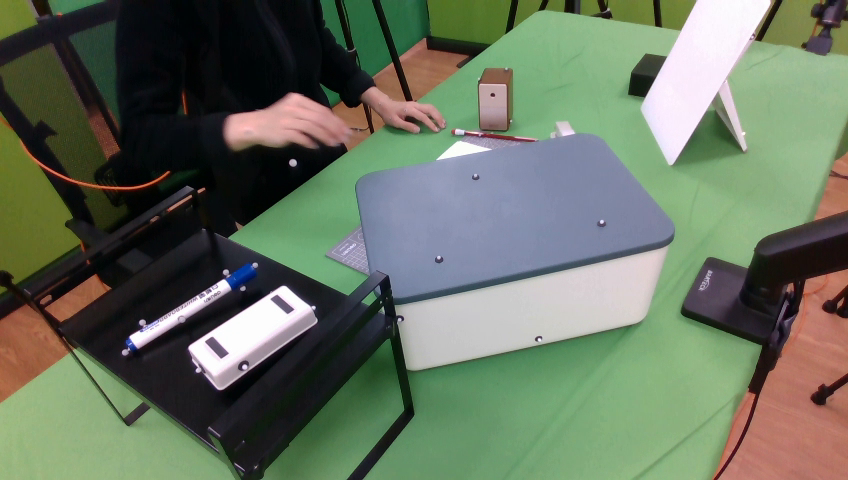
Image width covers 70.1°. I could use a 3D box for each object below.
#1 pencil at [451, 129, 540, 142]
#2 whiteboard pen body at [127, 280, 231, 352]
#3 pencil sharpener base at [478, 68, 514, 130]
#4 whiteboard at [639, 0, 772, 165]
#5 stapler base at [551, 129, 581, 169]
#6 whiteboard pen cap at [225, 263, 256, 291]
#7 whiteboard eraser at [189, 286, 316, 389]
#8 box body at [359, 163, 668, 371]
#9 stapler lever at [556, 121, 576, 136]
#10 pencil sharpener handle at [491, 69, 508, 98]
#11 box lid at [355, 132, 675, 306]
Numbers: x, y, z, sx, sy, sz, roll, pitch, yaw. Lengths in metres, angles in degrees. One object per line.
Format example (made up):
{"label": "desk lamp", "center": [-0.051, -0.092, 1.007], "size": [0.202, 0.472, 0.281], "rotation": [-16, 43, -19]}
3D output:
{"label": "pencil", "center": [0.146, -0.207, 1.205], "size": [0.193, 0.012, 0.012], "rotation": [10, 43, 19]}
{"label": "whiteboard pen body", "center": [-0.248, 0.072, 0.645], "size": [0.141, 0.017, 0.017], "rotation": [-35, 47, -23]}
{"label": "pencil sharpener base", "center": [0.148, -0.286, 1.224], "size": [0.061, 0.107, 0.076], "rotation": [5, 41, 15]}
{"label": "whiteboard", "center": [0.543, -0.298, 1.076], "size": [0.144, 0.305, 0.216], "rotation": [12, 40, -7]}
{"label": "stapler base", "center": [0.268, -0.178, 1.142], "size": [0.041, 0.024, 0.130], "rotation": [0, 37, 3]}
{"label": "whiteboard pen cap", "center": [-0.204, 0.041, 0.668], "size": [0.033, 0.018, 0.018], "rotation": [-36, 48, -22]}
{"label": "whiteboard eraser", "center": [-0.166, 0.096, 0.593], "size": [0.113, 0.042, 0.055], "rotation": [-36, 47, -29]}
{"label": "box body", "center": [0.108, 0.014, 0.833], "size": [0.365, 0.161, 0.252], "rotation": [-11, 41, -5]}
{"label": "stapler lever", "center": [0.266, -0.198, 1.128], "size": [0.027, 0.040, 0.117], "rotation": [0, 38, 3]}
{"label": "pencil sharpener handle", "center": [0.155, -0.329, 1.254], "size": [0.036, 0.068, 0.030], "rotation": [17, 43, 3]}
{"label": "box lid", "center": [0.103, -0.042, 0.785], "size": [0.372, 0.015, 0.261], "rotation": [-12, 41, -5]}
